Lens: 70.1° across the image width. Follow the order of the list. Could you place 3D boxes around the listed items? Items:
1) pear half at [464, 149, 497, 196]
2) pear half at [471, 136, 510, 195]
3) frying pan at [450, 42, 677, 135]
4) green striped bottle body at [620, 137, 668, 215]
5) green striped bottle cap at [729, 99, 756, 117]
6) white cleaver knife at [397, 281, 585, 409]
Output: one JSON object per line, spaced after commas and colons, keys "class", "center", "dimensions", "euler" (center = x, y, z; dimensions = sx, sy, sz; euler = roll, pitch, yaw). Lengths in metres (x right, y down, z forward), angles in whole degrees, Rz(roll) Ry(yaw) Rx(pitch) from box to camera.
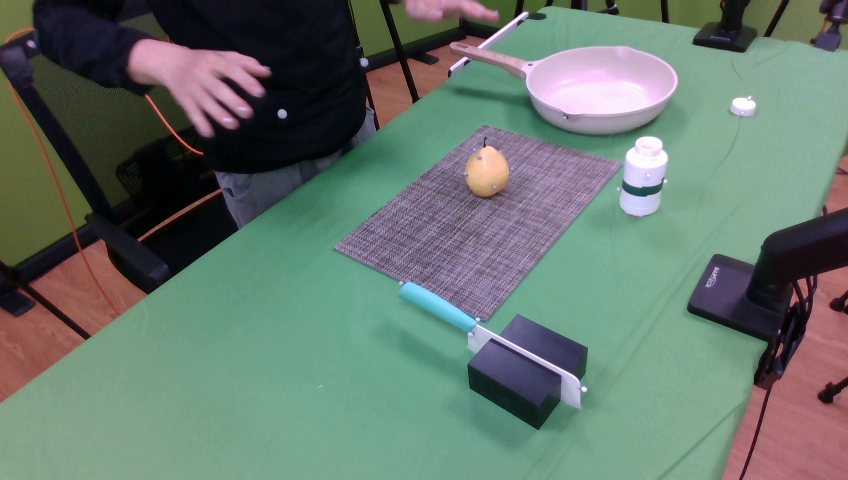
{"class": "pear half", "center": [0.091, -0.110, 1.025], "dimensions": [0.070, 0.088, 0.031], "euler": [30, 52, 30]}
{"class": "pear half", "center": [0.115, -0.136, 1.036], "dimensions": [0.076, 0.110, 0.056], "euler": [30, 53, 30]}
{"class": "frying pan", "center": [0.268, -0.344, 1.266], "dimensions": [0.485, 0.103, 0.307], "euler": [26, 49, 21]}
{"class": "green striped bottle body", "center": [0.350, -0.103, 0.963], "dimensions": [0.063, 0.120, 0.063], "euler": [-4, 41, 4]}
{"class": "green striped bottle cap", "center": [0.623, -0.259, 1.182], "dimensions": [0.044, 0.020, 0.044], "euler": [-3, 40, 3]}
{"class": "white cleaver knife", "center": [0.074, 0.131, 0.770], "dimensions": [0.284, 0.066, 0.021], "euler": [27, 45, 31]}
